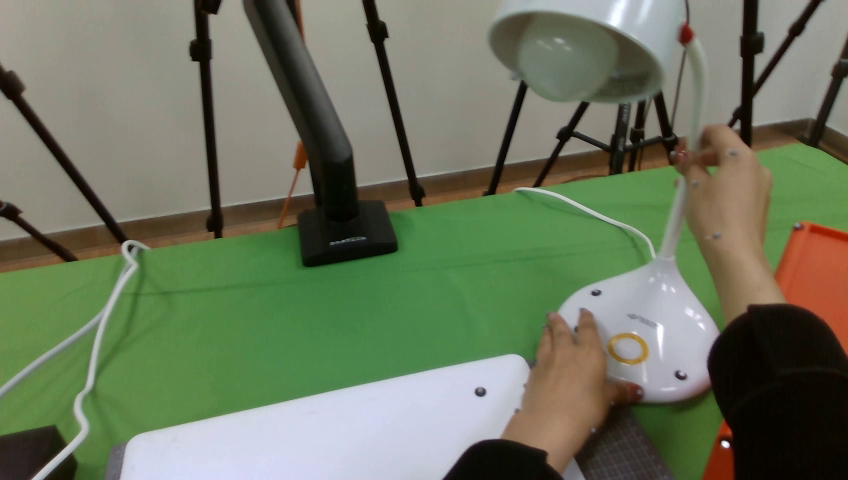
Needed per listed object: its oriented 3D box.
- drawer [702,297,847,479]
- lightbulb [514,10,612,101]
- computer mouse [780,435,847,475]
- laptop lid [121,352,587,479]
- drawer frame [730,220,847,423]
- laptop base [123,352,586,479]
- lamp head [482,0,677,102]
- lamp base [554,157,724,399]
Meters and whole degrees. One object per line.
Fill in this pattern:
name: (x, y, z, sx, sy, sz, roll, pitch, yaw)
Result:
drawer: (0.350, 0.142, 0.476, 0.193, 0.074, 0.211, 18, 39, 29)
lightbulb: (0.095, -0.140, 0.381, 0.059, 0.060, 0.107, 19, 84, 29)
computer mouse: (0.321, 0.185, 0.439, 0.116, 0.041, 0.062, 18, 38, 21)
laptop lid: (-0.051, 0.200, 0.452, 0.357, 0.013, 0.239, -9, 38, -9)
drawer frame: (0.413, 0.086, 0.547, 0.200, 0.083, 0.213, 19, 40, 29)
laptop base: (-0.051, 0.207, 0.459, 0.355, 0.023, 0.233, -10, 40, -10)
lamp head: (0.109, -0.160, 0.376, 0.111, 0.113, 0.122, 19, 81, 29)
lamp base: (0.212, 0.023, 0.563, 0.160, 0.182, 0.178, 14, 35, 22)
